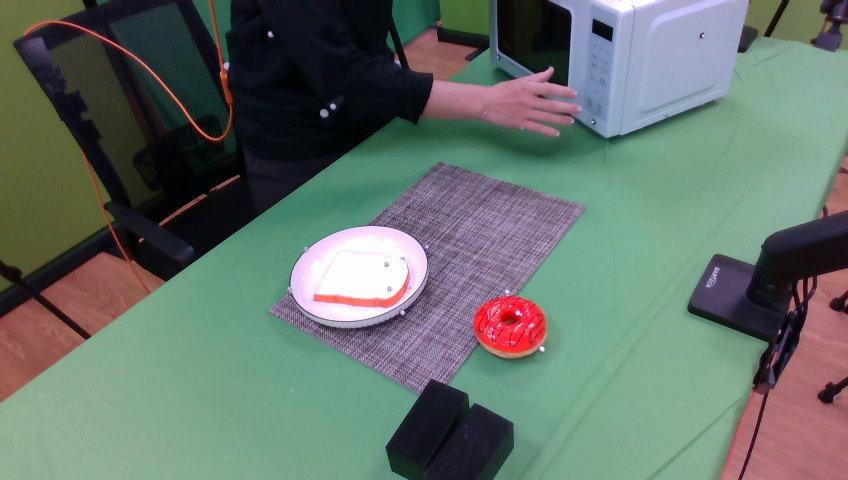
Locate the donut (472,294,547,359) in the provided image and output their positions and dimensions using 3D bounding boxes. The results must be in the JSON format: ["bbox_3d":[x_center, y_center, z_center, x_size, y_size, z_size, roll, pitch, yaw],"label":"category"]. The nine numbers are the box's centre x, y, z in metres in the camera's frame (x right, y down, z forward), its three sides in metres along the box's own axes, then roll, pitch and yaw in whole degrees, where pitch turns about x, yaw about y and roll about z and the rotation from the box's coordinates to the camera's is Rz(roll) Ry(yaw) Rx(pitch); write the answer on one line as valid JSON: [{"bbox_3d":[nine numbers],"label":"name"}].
[{"bbox_3d":[0.114,0.114,0.803,0.099,0.048,0.098,0,40,1],"label":"donut"}]

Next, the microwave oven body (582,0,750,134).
[{"bbox_3d":[0.382,-0.445,1.246,0.327,0.261,0.437,-22,42,-16],"label":"microwave oven body"}]

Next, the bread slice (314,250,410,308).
[{"bbox_3d":[-0.087,0.057,0.900,0.131,0.019,0.104,5,43,14],"label":"bread slice"}]

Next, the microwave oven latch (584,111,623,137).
[{"bbox_3d":[0.337,-0.222,1.142,0.030,0.029,0.078,-21,42,-14],"label":"microwave oven latch"}]

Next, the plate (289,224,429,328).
[{"bbox_3d":[-0.094,0.055,0.902,0.207,0.039,0.206,-4,41,4],"label":"plate"}]

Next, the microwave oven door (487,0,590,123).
[{"bbox_3d":[0.232,-0.420,1.231,0.039,0.245,0.352,-22,43,-16],"label":"microwave oven door"}]
